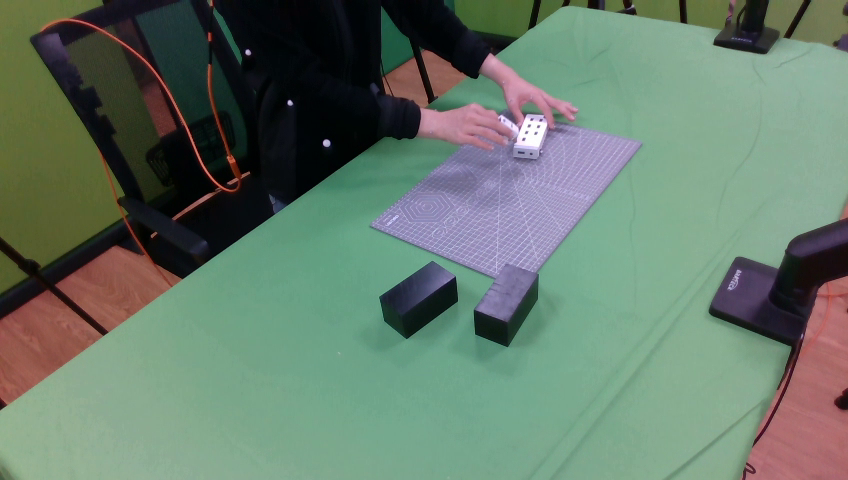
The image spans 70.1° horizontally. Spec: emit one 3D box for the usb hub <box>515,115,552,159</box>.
[{"bbox_3d":[0.213,-0.201,1.173,0.049,0.025,0.125,9,43,17],"label":"usb hub"}]

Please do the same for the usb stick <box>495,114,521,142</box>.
[{"bbox_3d":[0.158,-0.200,1.100,0.027,0.059,0.021,-34,38,33],"label":"usb stick"}]
